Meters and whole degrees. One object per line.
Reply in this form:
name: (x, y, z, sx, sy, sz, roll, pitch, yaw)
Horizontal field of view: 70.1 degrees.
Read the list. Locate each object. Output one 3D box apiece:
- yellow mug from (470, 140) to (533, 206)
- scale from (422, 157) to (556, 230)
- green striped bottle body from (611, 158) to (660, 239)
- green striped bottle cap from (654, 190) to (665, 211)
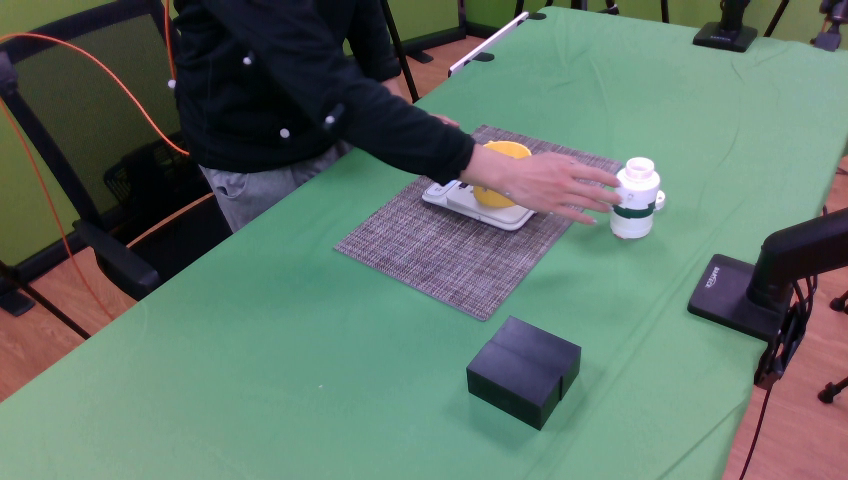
yellow mug: (0.125, -0.121, 1.004, 0.100, 0.064, 0.130, -13, 40, -5)
scale: (0.110, -0.089, 1.042, 0.199, 0.032, 0.149, 23, 48, 31)
green striped bottle body: (0.323, -0.065, 0.923, 0.063, 0.120, 0.063, -4, 41, 4)
green striped bottle cap: (0.375, -0.066, 0.998, 0.044, 0.020, 0.044, -8, 38, 7)
